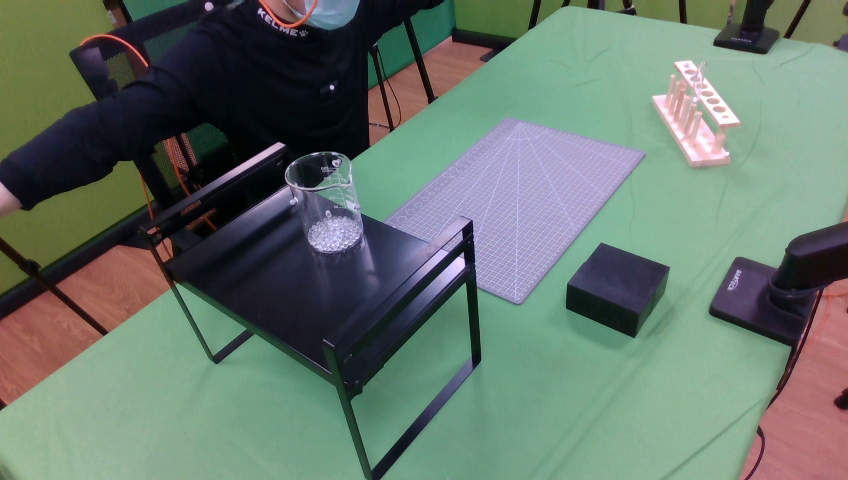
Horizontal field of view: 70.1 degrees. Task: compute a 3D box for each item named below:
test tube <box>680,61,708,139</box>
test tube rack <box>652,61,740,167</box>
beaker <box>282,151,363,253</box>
[{"bbox_3d":[0.476,-0.245,1.068,0.017,0.151,0.017,-3,42,3],"label":"test tube"},{"bbox_3d":[0.499,-0.242,1.130,0.067,0.085,0.241,-5,41,3],"label":"test tube rack"},{"bbox_3d":[-0.110,-0.041,0.697,0.083,0.101,0.074,18,47,26],"label":"beaker"}]
